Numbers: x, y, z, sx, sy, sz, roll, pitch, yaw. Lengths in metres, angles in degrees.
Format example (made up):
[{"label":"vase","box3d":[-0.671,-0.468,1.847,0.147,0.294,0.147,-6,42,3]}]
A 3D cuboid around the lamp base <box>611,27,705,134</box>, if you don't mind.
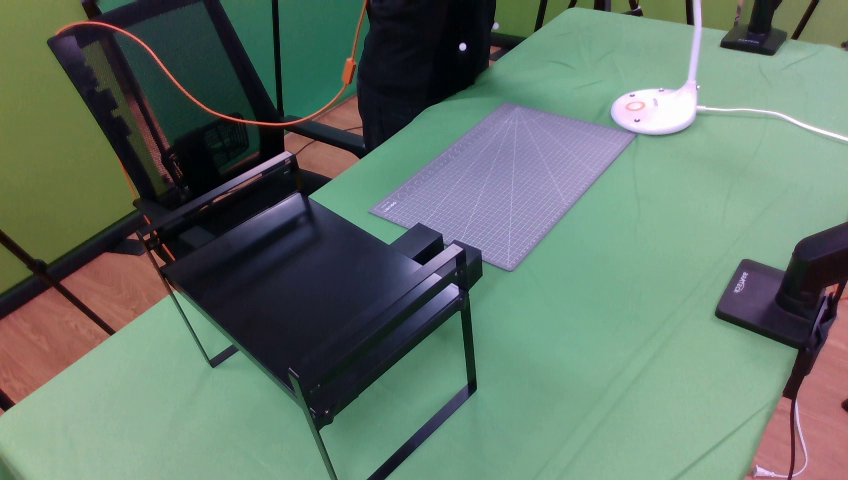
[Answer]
[{"label":"lamp base","box3d":[0.458,-0.316,1.154,0.179,0.181,0.159,-5,41,0]}]
